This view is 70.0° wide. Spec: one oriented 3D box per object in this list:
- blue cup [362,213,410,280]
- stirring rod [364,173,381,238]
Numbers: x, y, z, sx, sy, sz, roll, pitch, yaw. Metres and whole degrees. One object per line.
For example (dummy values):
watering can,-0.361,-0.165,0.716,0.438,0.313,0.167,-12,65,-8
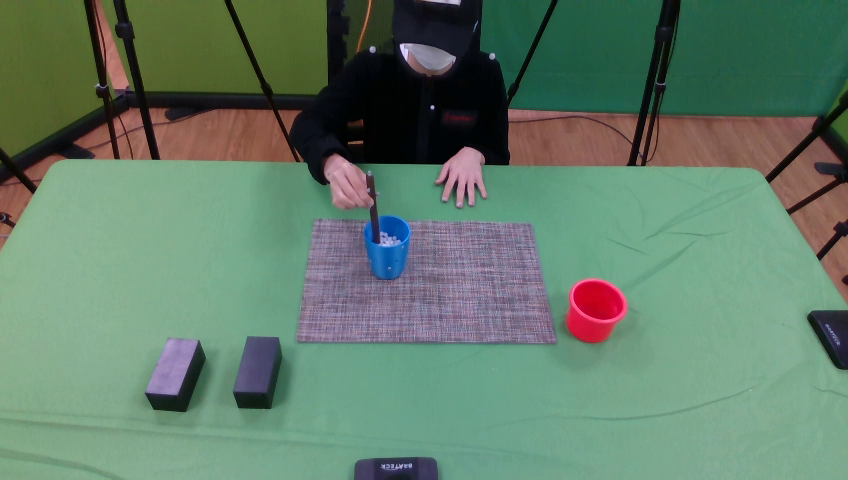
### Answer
blue cup,-0.069,0.020,1.114,0.093,0.101,0.092,1,45,-1
stirring rod,-0.088,-0.051,1.052,0.014,0.177,0.006,10,51,11
